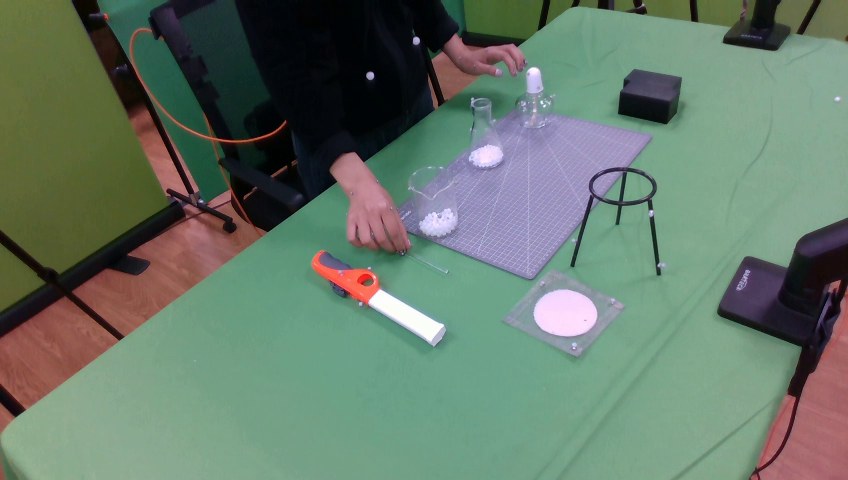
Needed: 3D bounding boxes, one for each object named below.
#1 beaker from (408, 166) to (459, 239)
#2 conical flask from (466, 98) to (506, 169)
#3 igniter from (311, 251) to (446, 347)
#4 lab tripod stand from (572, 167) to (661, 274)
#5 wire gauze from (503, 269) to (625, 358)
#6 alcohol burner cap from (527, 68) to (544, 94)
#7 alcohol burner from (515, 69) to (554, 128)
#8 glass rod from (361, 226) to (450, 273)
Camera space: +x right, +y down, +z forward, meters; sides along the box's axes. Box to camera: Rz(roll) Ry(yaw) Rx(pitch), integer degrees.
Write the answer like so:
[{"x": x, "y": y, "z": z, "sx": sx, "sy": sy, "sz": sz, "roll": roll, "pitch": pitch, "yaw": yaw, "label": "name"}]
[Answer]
[{"x": 0.018, "y": -0.057, "z": 0.984, "sx": 0.074, "sy": 0.101, "sz": 0.083, "roll": -6, "pitch": 41, "yaw": 5, "label": "beaker"}, {"x": 0.111, "y": -0.199, "z": 1.116, "sx": 0.075, "sy": 0.122, "sz": 0.075, "roll": -5, "pitch": 41, "yaw": 5, "label": "conical flask"}, {"x": -0.078, "y": 0.081, "z": 0.899, "sx": 0.274, "sy": 0.025, "sz": 0.057, "roll": 27, "pitch": 63, "yaw": 35, "label": "igniter"}, {"x": 0.283, "y": -0.030, "z": 0.879, "sx": 0.148, "sy": 0.132, "sz": 0.147, "roll": -7, "pitch": 38, "yaw": 6, "label": "lab tripod stand"}, {"x": 0.194, "y": 0.100, "z": 0.840, "sx": 0.120, "sy": 0.011, "sz": 0.125, "roll": 27, "pitch": 54, "yaw": 36, "label": "wire gauze"}, {"x": 0.216, "y": -0.312, "z": 1.179, "sx": 0.034, "sy": 0.048, "sz": 0.033, "roll": -9, "pitch": 40, "yaw": 9, "label": "alcohol burner cap"}, {"x": 0.221, "y": -0.285, "z": 1.203, "sx": 0.078, "sy": 0.119, "sz": 0.077, "roll": -4, "pitch": 39, "yaw": 4, "label": "alcohol burner"}, {"x": -0.034, "y": 0.013, "z": 0.983, "sx": 0.198, "sy": 0.008, "sz": 0.008, "roll": 26, "pitch": 52, "yaw": 35, "label": "glass rod"}]
